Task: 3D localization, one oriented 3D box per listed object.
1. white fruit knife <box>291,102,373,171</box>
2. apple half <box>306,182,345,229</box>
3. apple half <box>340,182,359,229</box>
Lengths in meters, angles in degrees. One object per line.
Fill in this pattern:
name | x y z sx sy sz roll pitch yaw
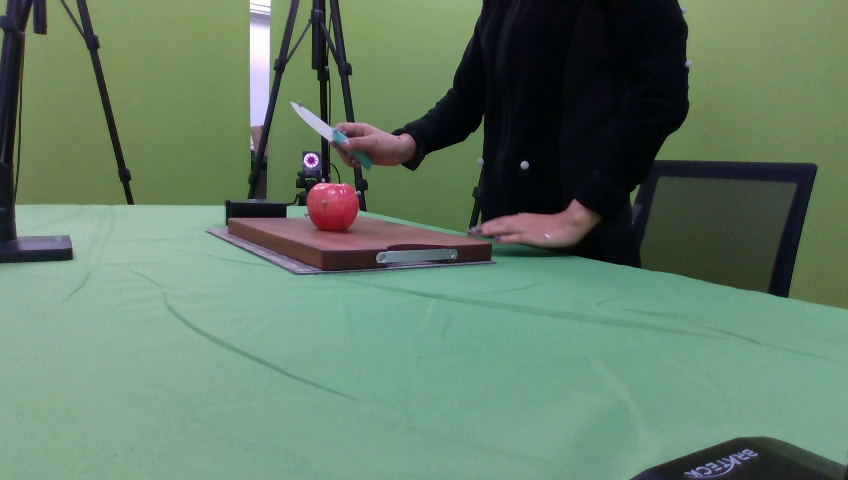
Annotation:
white fruit knife | -0.156 -0.181 1.053 0.016 0.027 0.208 7 -18 39
apple half | -0.158 -0.054 0.950 0.053 0.074 0.080 -4 13 -20
apple half | -0.120 -0.056 0.963 0.033 0.081 0.081 -5 9 -20
